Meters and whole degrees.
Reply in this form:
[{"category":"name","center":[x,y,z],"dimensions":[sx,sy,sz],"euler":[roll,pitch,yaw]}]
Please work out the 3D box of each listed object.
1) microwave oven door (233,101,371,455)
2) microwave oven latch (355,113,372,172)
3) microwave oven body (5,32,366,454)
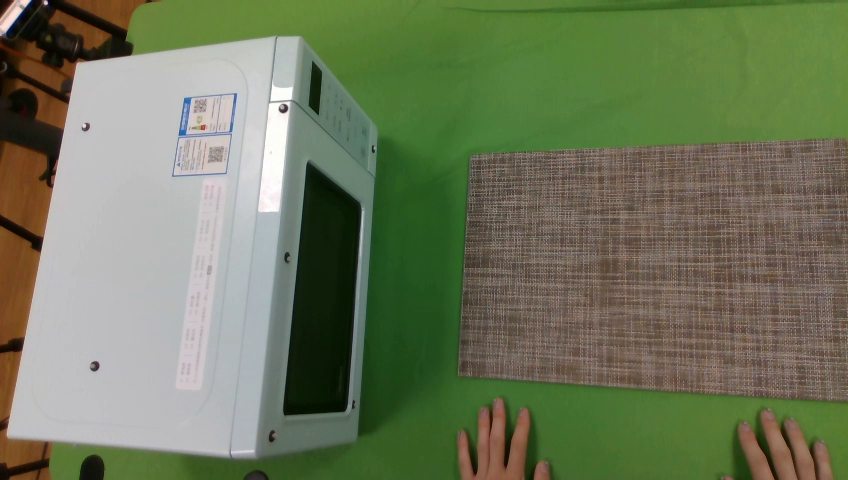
[{"category":"microwave oven door","center":[-0.128,0.054,0.700],"dimensions":[0.039,0.245,0.354],"euler":[-2,76,16]},{"category":"microwave oven latch","center":[-0.089,-0.135,0.842],"dimensions":[0.030,0.030,0.079],"euler":[-1,78,16]},{"category":"microwave oven body","center":[-0.265,0.018,0.754],"dimensions":[0.325,0.262,0.439],"euler":[-1,77,15]}]
